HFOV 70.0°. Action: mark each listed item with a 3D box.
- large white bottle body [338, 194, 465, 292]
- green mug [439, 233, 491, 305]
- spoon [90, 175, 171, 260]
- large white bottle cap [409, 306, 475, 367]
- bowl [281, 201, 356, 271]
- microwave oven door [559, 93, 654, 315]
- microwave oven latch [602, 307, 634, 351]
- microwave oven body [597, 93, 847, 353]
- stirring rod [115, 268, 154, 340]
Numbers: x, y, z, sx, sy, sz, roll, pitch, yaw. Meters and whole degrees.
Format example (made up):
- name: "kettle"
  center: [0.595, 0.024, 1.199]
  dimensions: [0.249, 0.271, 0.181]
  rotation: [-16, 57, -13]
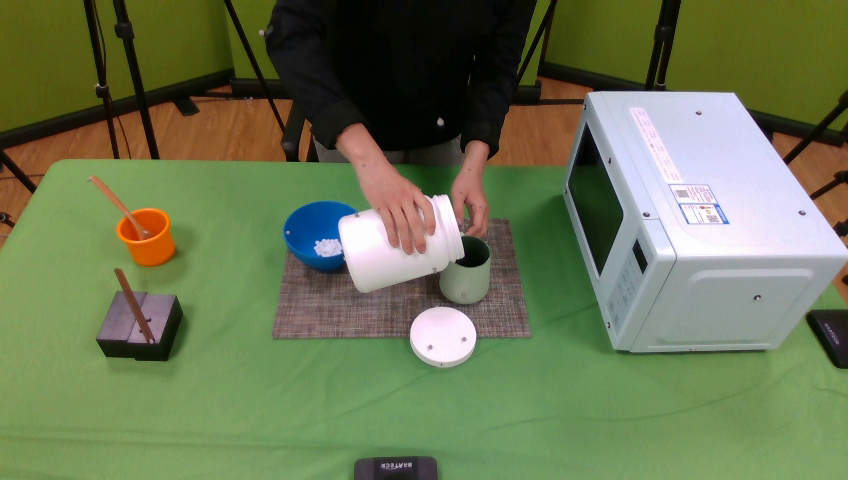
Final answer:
- name: "large white bottle body"
  center: [-0.035, 0.000, 0.990]
  dimensions: [0.185, 0.131, 0.129]
  rotation: [-16, 47, 1]
- name: "green mug"
  center: [0.072, 0.044, 1.101]
  dimensions: [0.092, 0.105, 0.124]
  rotation: [-6, 46, -9]
- name: "spoon"
  center: [-0.539, -0.042, 1.111]
  dimensions: [0.041, 0.194, 0.021]
  rotation: [-45, 19, -32]
- name: "large white bottle cap"
  center: [0.031, 0.164, 1.040]
  dimensions: [0.115, 0.018, 0.114]
  rotation: [3, 50, -3]
- name: "bowl"
  center: [-0.187, 0.005, 1.138]
  dimensions: [0.151, 0.077, 0.150]
  rotation: [3, 46, -3]
- name: "microwave oven door"
  center: [0.327, -0.074, 1.123]
  dimensions: [0.039, 0.245, 0.353]
  rotation: [-1, 46, -5]
- name: "microwave oven latch"
  center: [0.332, 0.153, 1.043]
  dimensions: [0.030, 0.029, 0.078]
  rotation: [0, 45, -4]
- name: "microwave oven body"
  center: [0.475, -0.041, 1.109]
  dimensions: [0.326, 0.261, 0.438]
  rotation: [-1, 45, -4]
- name: "stirring rod"
  center: [-0.479, 0.103, 0.999]
  dimensions: [0.014, 0.006, 0.175]
  rotation: [7, 32, -49]
